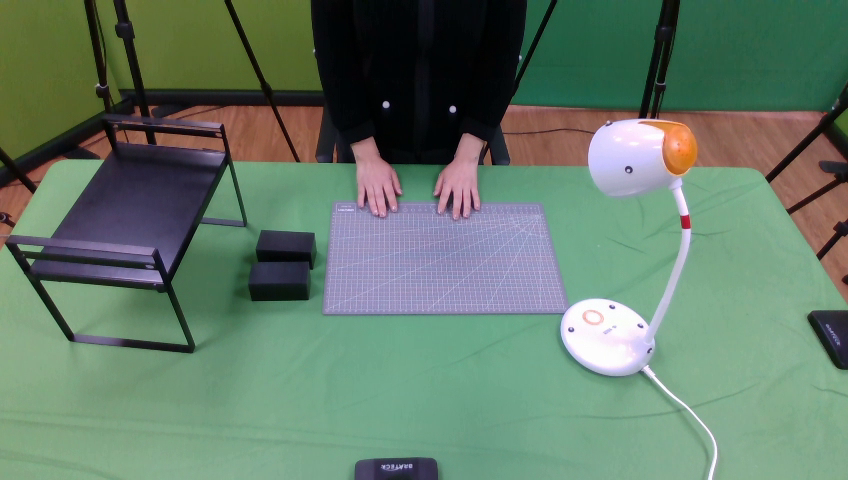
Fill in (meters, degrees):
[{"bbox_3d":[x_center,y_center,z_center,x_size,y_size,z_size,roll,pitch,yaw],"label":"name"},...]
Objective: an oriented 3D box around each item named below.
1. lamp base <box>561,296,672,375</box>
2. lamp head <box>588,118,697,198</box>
[{"bbox_3d":[0.332,0.119,0.996,0.160,0.181,0.178,-34,59,-30],"label":"lamp base"},{"bbox_3d":[0.304,-0.113,0.823,0.112,0.112,0.122,-26,16,-26],"label":"lamp head"}]
